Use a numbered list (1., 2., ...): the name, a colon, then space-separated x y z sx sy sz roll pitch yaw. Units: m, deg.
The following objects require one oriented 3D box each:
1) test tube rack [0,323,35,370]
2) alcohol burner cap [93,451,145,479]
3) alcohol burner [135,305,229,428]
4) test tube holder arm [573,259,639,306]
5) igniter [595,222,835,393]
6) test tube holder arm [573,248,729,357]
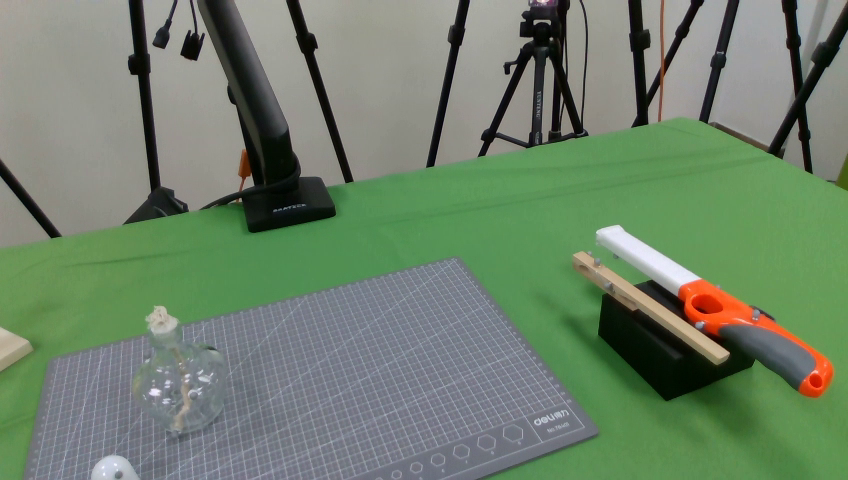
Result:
1. test tube rack: -0.492 0.126 0.531 0.066 0.086 0.242 14 36 25
2. alcohol burner cap: -0.231 0.180 0.458 0.034 0.048 0.033 -1 32 1
3. alcohol burner: -0.209 0.102 0.514 0.078 0.120 0.077 -1 33 1
4. test tube holder arm: 0.179 0.038 0.593 0.015 0.010 0.087 -24 34 -18
5. igniter: 0.252 0.048 0.560 0.057 0.025 0.273 -15 31 -17
6. test tube holder arm: 0.199 0.052 0.555 0.015 0.013 0.176 -24 34 -18
